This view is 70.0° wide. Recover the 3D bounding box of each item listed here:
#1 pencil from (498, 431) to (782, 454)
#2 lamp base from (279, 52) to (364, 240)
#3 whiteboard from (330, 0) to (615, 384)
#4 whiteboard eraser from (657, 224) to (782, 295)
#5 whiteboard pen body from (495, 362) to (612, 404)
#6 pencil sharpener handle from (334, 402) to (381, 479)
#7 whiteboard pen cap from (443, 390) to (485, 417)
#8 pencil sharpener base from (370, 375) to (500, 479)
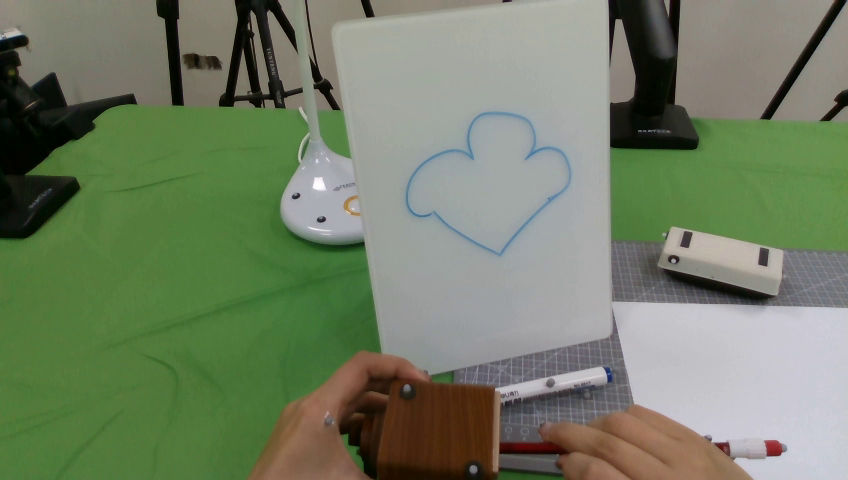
[{"bbox_3d":[0.110,0.125,0.368,0.194,0.012,0.012,-5,37,11],"label":"pencil"},{"bbox_3d":[-0.109,-0.117,0.707,0.161,0.182,0.177,-29,43,-30],"label":"lamp base"},{"bbox_3d":[0.043,-0.053,0.564,0.217,0.307,0.142,-10,19,-8],"label":"whiteboard"},{"bbox_3d":[0.300,0.020,0.618,0.112,0.042,0.055,15,43,22],"label":"whiteboard eraser"},{"bbox_3d":[0.091,0.124,0.510,0.141,0.017,0.017,-10,38,-8],"label":"whiteboard pen body"},{"bbox_3d":[-0.044,0.134,0.389,0.030,0.068,0.035,3,28,5],"label":"pencil sharpener handle"},{"bbox_3d":[0.033,0.135,0.501,0.033,0.018,0.018,-10,38,-9],"label":"whiteboard pen cap"},{"bbox_3d":[0.008,0.143,0.397,0.076,0.108,0.061,3,44,5],"label":"pencil sharpener base"}]
